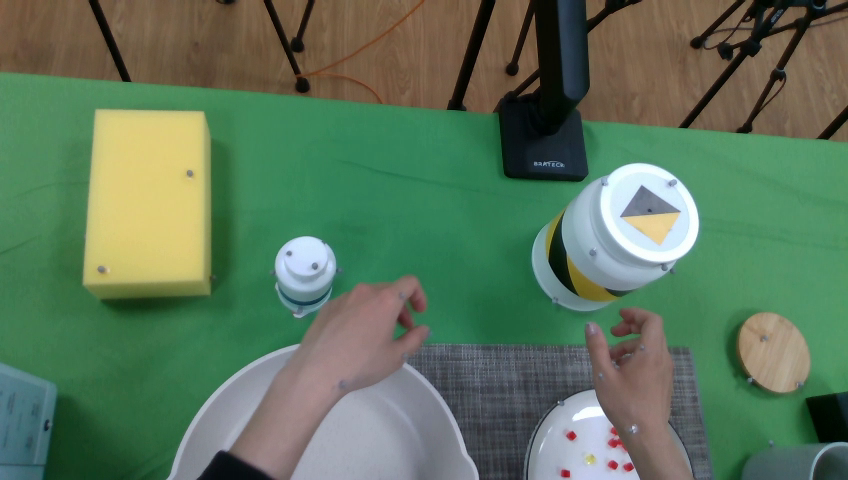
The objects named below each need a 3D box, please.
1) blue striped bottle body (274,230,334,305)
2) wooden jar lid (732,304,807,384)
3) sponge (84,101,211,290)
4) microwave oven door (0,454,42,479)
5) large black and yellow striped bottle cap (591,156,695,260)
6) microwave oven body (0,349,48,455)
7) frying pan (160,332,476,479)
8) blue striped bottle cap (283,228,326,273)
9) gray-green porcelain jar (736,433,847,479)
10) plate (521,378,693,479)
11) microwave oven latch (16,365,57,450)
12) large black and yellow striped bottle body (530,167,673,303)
[{"bbox_3d":[-0.132,0.028,0.666,0.063,0.121,0.062,4,70,-11],"label":"blue striped bottle body"},{"bbox_3d":[0.462,0.141,0.817,0.109,0.021,0.107,4,72,-11],"label":"wooden jar lid"},{"bbox_3d":[-0.307,-0.051,0.686,0.118,0.061,0.205,-3,72,-13],"label":"sponge"},{"bbox_3d":[-0.358,0.335,0.423,0.039,0.244,0.353,2,70,-12],"label":"microwave oven door"},{"bbox_3d":[0.235,-0.036,0.647,0.115,0.019,0.114,4,72,-11],"label":"large black and yellow striped bottle cap"},{"bbox_3d":[-0.501,0.290,0.412,0.327,0.261,0.438,3,71,-12],"label":"microwave oven body"},{"bbox_3d":[-0.095,0.335,0.574,0.308,0.103,0.483,1,63,-10],"label":"frying pan"},{"bbox_3d":[-0.122,0.010,0.619,0.045,0.021,0.044,4,72,-11],"label":"blue striped bottle cap"},{"bbox_3d":[0.443,0.282,0.706,0.106,0.127,0.105,4,70,-11],"label":"gray-green porcelain jar"},{"bbox_3d":[0.208,0.267,0.702,0.210,0.038,0.207,4,71,-11],"label":"plate"},{"bbox_3d":[-0.380,0.162,0.588,0.030,0.029,0.078,5,71,-11],"label":"microwave oven latch"},{"bbox_3d":[0.217,-0.007,0.724,0.131,0.184,0.130,4,70,-11],"label":"large black and yellow striped bottle body"}]
